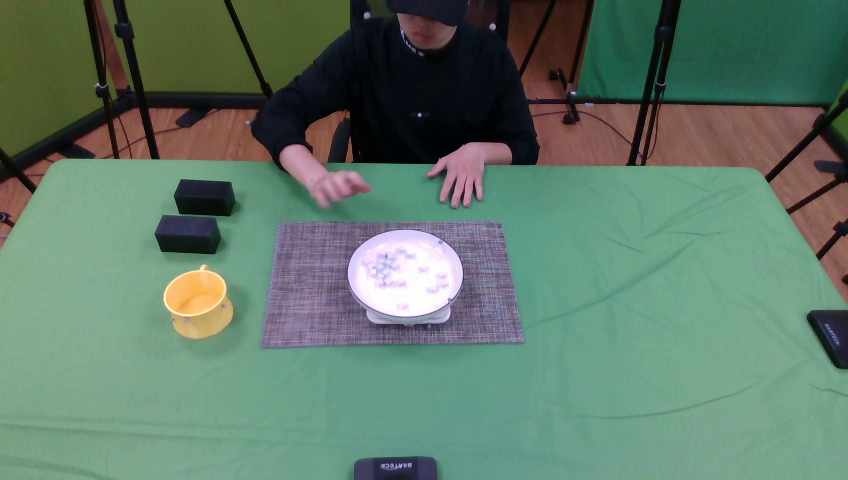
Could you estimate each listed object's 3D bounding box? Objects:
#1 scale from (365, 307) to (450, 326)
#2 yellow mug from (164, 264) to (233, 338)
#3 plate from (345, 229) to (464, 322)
[{"bbox_3d":[-0.032,0.071,1.113,0.149,0.032,0.199,0,46,-4],"label":"scale"},{"bbox_3d":[-0.384,0.097,1.044,0.100,0.064,0.130,-1,45,-5],"label":"yellow mug"},{"bbox_3d":[-0.034,0.065,1.073,0.209,0.038,0.208,2,46,-2],"label":"plate"}]
